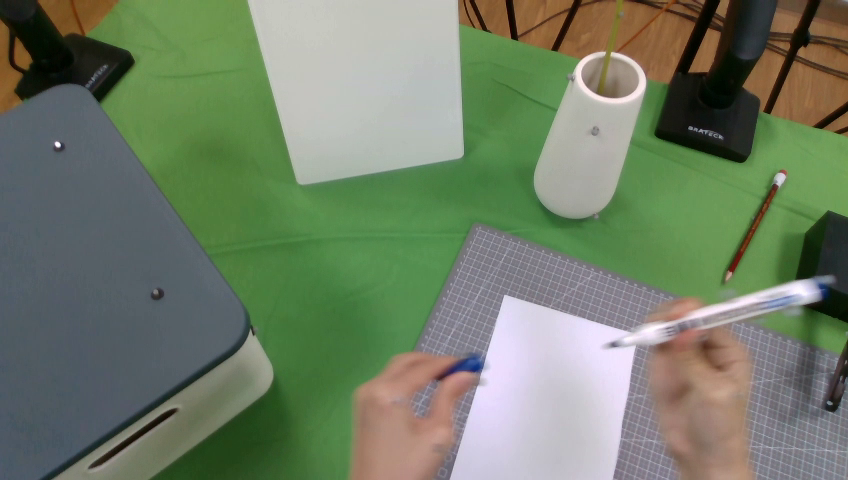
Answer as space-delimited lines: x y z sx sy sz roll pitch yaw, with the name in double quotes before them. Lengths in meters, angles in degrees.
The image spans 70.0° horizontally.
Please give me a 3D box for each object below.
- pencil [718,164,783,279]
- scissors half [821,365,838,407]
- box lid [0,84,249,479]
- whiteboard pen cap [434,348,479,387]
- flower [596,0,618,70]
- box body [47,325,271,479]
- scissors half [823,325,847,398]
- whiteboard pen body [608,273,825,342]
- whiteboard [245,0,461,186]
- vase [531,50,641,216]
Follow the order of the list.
"pencil" 0.394 -0.024 0.732 0.012 0.012 0.193 32 67 17
"scissors half" 0.444 0.090 0.629 0.012 0.040 0.175 18 80 37
"box lid" -0.352 0.021 0.533 0.263 0.015 0.368 -36 67 -18
"whiteboard pen cap" 0.024 0.094 0.449 0.033 0.018 0.018 -36 61 18
"flower" 0.175 -0.167 0.608 0.044 0.365 0.038 14 44 12
"box body" -0.351 0.059 0.597 0.254 0.161 0.361 -36 67 -18
"scissors half" 0.435 0.081 0.613 0.012 0.040 0.174 19 63 32
"whiteboard pen body" 0.193 0.048 0.406 0.140 0.017 0.017 -18 60 11
"whiteboard" -0.081 -0.246 0.721 0.217 0.308 0.142 -10 42 -5
"vase" 0.177 -0.113 0.673 0.098 0.201 0.097 0 59 1
